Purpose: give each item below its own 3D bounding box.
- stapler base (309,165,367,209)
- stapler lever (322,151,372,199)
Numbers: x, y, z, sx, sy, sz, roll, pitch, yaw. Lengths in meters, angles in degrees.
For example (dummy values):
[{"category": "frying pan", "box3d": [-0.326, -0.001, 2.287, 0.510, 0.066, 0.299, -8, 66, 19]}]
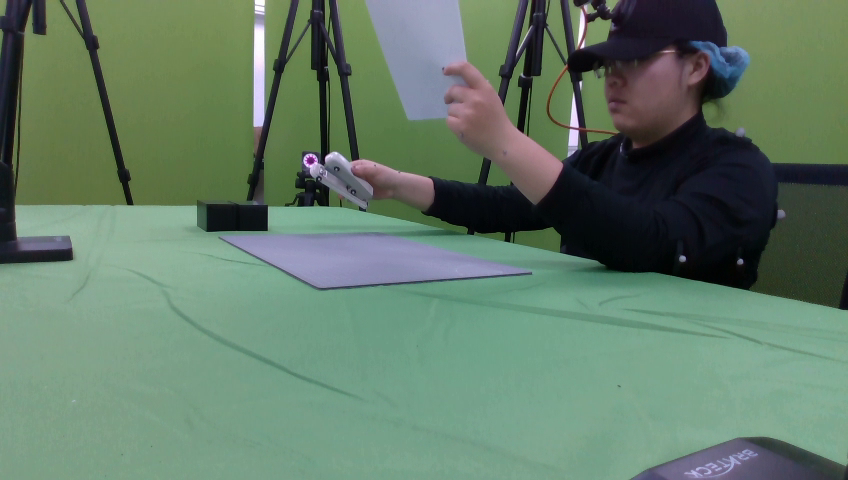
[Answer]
[{"category": "stapler base", "box3d": [-0.159, -0.108, 1.156, 0.131, 0.024, 0.041, 33, 25, -27]}, {"category": "stapler lever", "box3d": [-0.141, -0.125, 1.148, 0.118, 0.040, 0.027, 34, 25, -27]}]
